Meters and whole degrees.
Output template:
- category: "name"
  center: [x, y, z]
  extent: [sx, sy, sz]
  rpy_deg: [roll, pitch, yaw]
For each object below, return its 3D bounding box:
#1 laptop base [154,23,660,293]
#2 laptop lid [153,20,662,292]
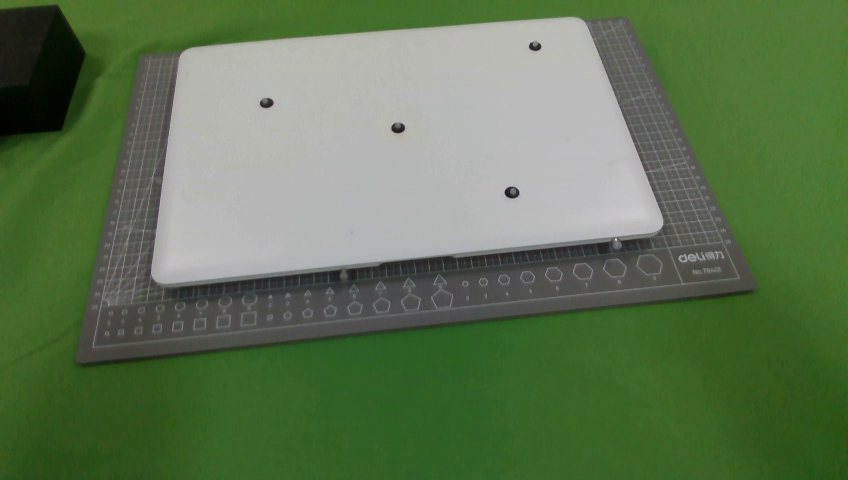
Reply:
- category: "laptop base"
  center: [-0.020, -0.076, 0.480]
  extent: [0.355, 0.023, 0.233]
  rpy_deg: [-6, 60, -4]
- category: "laptop lid"
  center: [-0.019, -0.081, 0.468]
  extent: [0.357, 0.013, 0.239]
  rpy_deg: [-5, 59, -3]
